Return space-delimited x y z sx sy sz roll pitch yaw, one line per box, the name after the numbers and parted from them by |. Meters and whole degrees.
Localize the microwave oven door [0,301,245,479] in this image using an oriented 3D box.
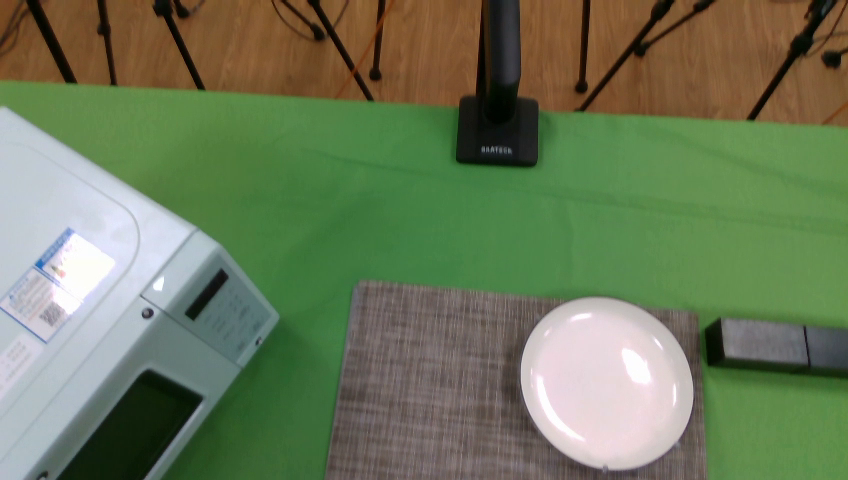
-0.335 0.240 0.600 0.039 0.245 0.354 29 71 14 | microwave oven door

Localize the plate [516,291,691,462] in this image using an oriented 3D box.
0.216 0.166 0.744 0.208 0.039 0.206 0 67 1 | plate

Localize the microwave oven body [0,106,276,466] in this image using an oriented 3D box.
-0.437 0.140 0.650 0.324 0.262 0.440 30 71 13 | microwave oven body

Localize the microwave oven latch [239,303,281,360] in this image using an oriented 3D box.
-0.214 0.110 0.763 0.030 0.030 0.079 32 72 13 | microwave oven latch
